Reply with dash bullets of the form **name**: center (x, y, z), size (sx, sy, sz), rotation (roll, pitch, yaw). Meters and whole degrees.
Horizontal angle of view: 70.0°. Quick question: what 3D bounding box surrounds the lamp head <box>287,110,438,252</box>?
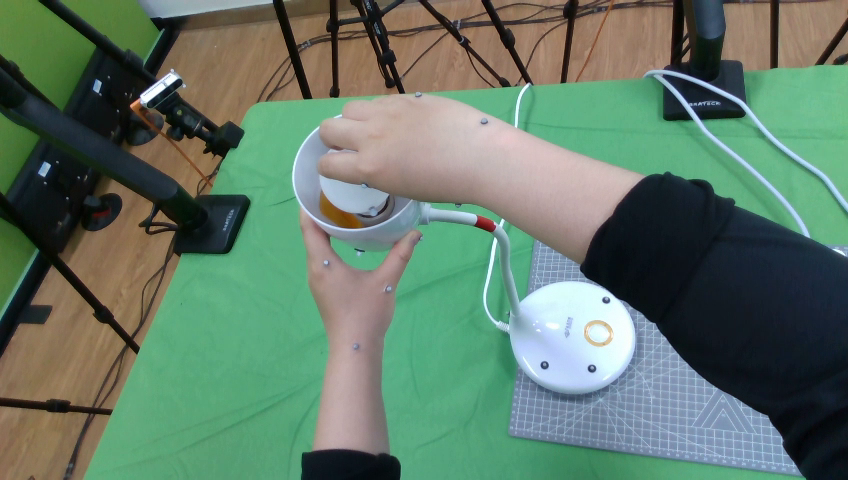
- **lamp head**: center (-0.046, -0.038, 0.541), size (0.112, 0.124, 0.111), rotation (-4, 68, 11)

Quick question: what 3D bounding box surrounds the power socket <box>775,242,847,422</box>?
- **power socket**: center (0.471, 0.100, 0.722), size (0.072, 0.033, 0.225), rotation (1, 58, 18)

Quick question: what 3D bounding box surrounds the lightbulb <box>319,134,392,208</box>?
- **lightbulb**: center (-0.052, -0.052, 0.518), size (0.059, 0.108, 0.059), rotation (-2, 80, 10)

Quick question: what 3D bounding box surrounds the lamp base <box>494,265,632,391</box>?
- **lamp base**: center (0.158, 0.083, 0.744), size (0.178, 0.182, 0.159), rotation (-5, 57, 19)
